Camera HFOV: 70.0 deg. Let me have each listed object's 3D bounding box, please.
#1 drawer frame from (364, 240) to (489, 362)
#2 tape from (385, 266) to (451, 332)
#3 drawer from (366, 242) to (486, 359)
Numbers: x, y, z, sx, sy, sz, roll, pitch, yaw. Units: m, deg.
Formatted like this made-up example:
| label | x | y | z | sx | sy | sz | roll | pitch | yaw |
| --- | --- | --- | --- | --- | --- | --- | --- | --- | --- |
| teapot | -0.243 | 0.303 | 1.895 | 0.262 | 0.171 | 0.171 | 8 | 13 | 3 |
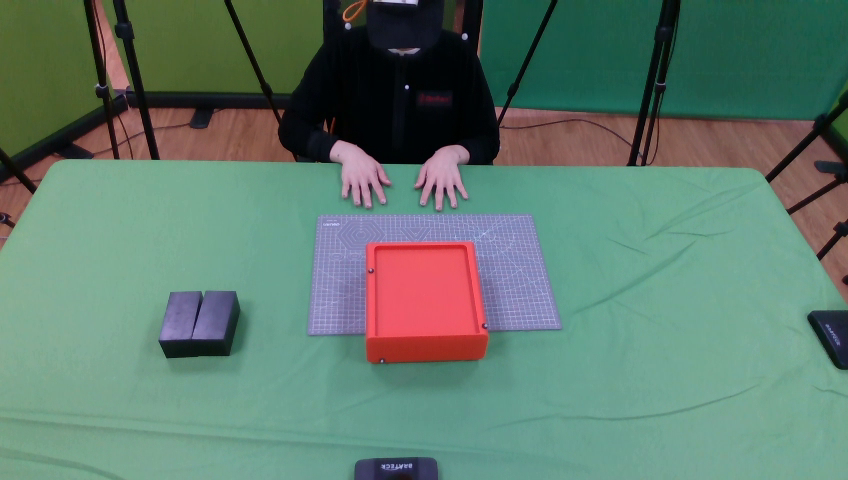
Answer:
| label | x | y | z | sx | sy | sz | roll | pitch | yaw |
| --- | --- | --- | --- | --- | --- | --- | --- | --- | --- |
| drawer frame | -0.002 | 0.101 | 1.054 | 0.202 | 0.083 | 0.212 | -1 | 47 | -5 |
| tape | -0.010 | 0.103 | 1.062 | 0.117 | 0.053 | 0.116 | 2 | 46 | -2 |
| drawer | -0.002 | 0.101 | 1.057 | 0.195 | 0.073 | 0.210 | 0 | 47 | -5 |
